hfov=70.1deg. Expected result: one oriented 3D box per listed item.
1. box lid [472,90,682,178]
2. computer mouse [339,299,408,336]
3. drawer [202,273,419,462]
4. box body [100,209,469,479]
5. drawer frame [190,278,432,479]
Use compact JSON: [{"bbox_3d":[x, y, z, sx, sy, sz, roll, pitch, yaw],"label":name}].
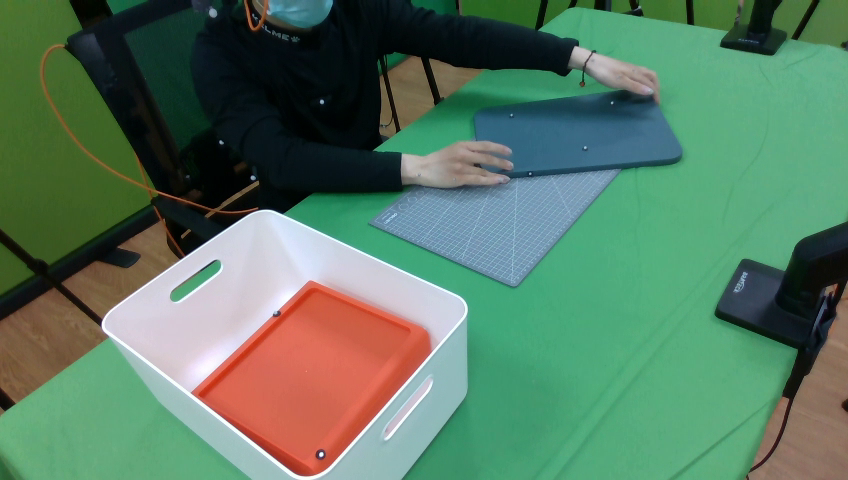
[{"bbox_3d":[0.281,-0.211,1.181,0.371,0.015,0.262,-5,40,3],"label":"box lid"},{"bbox_3d":[-0.074,0.109,0.773,0.117,0.041,0.062,-10,43,6],"label":"computer mouse"},{"bbox_3d":[-0.135,0.168,0.727,0.193,0.073,0.211,20,63,22],"label":"drawer"},{"bbox_3d":[-0.152,0.140,0.721,0.361,0.161,0.255,22,49,30],"label":"box body"},{"bbox_3d":[-0.129,0.167,0.738,0.200,0.083,0.214,19,48,27],"label":"drawer frame"}]
